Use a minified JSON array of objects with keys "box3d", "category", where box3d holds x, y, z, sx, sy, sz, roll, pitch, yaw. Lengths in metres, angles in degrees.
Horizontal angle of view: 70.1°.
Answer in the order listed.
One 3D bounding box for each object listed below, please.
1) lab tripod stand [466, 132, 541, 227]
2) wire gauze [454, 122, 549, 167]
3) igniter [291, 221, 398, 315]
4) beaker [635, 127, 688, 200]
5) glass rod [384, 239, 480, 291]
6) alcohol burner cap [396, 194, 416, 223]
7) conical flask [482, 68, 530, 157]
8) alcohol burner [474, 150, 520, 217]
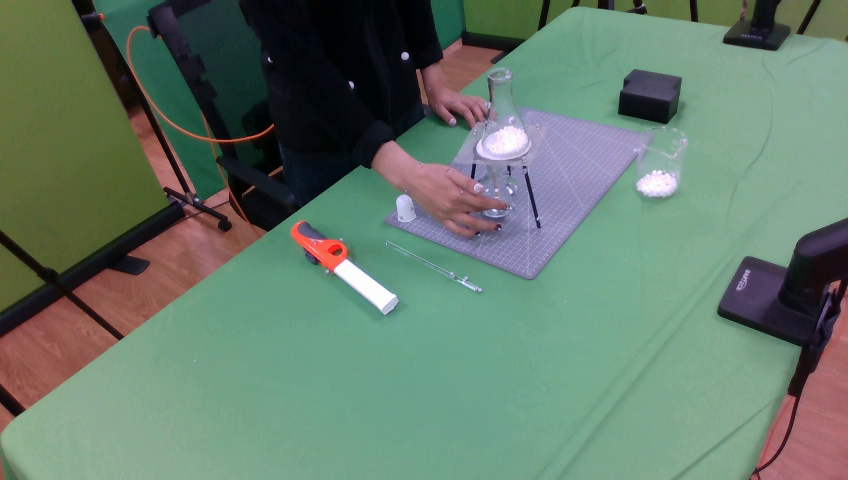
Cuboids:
[{"box3d":[0.130,-0.099,0.986,0.148,0.132,0.147,-6,39,6],"category":"lab tripod stand"},{"box3d":[0.122,-0.149,0.943,0.121,0.011,0.125,7,44,22],"category":"wire gauze"},{"box3d":[-0.136,0.037,0.963,0.057,0.025,0.274,-41,48,-18],"category":"igniter"},{"box3d":[0.388,-0.122,0.994,0.074,0.101,0.083,-8,40,2],"category":"beaker"},{"box3d":[0.009,0.037,0.949,0.198,0.008,0.008,26,52,34],"category":"glass rod"},{"box3d":[-0.032,-0.056,1.036,0.034,0.048,0.033,-6,40,6],"category":"alcohol burner cap"},{"box3d":[0.118,-0.192,0.902,0.075,0.122,0.075,-7,39,6],"category":"conical flask"},{"box3d":[0.119,-0.097,1.001,0.078,0.120,0.077,-6,41,6],"category":"alcohol burner"}]
